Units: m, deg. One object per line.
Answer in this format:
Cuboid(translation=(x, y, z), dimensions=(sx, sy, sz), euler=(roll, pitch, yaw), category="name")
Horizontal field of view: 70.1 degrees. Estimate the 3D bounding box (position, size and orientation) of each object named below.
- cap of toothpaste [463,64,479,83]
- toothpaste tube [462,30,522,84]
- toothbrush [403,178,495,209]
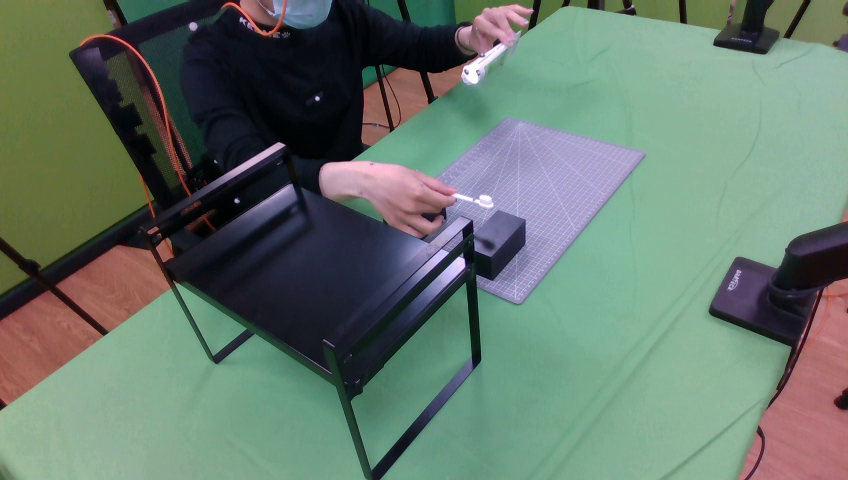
Cuboid(translation=(0.079, -0.284, 1.036), dimensions=(0.011, 0.037, 0.037), euler=(-27, 23, 42), category="cap of toothpaste")
Cuboid(translation=(0.125, -0.330, 1.100), dimensions=(0.034, 0.055, 0.165), euler=(42, 57, 10), category="toothpaste tube")
Cuboid(translation=(0.034, -0.076, 0.935), dimensions=(0.180, 0.017, 0.014), euler=(19, 50, 38), category="toothbrush")
